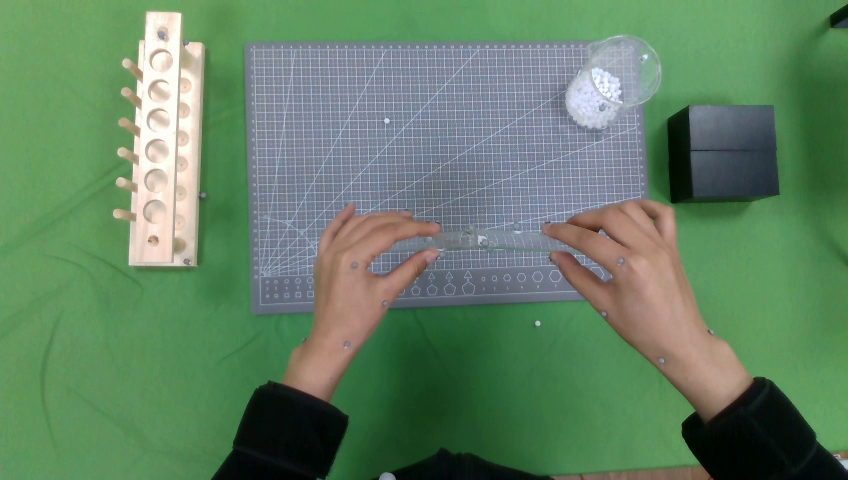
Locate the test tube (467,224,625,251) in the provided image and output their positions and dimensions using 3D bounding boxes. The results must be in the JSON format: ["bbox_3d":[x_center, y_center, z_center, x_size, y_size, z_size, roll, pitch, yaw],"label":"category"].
[{"bbox_3d":[0.105,-0.002,0.504,0.151,0.017,0.017,3,85,-23],"label":"test tube"}]

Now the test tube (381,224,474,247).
[{"bbox_3d":[-0.002,-0.003,0.546,0.017,0.149,0.017,1,88,-30],"label":"test tube"}]

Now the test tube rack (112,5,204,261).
[{"bbox_3d":[-0.272,-0.102,0.613,0.067,0.085,0.242,1,86,-5],"label":"test tube rack"}]

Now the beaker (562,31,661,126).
[{"bbox_3d":[0.193,-0.170,0.652,0.084,0.100,0.074,35,83,0],"label":"beaker"}]
